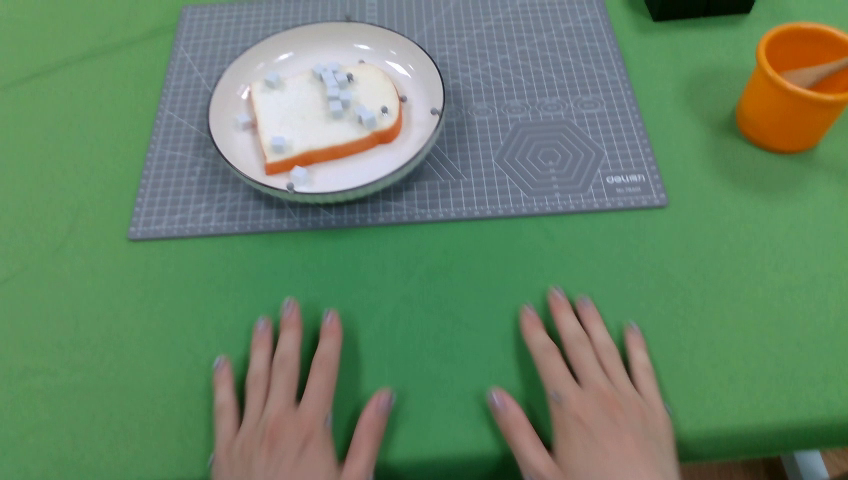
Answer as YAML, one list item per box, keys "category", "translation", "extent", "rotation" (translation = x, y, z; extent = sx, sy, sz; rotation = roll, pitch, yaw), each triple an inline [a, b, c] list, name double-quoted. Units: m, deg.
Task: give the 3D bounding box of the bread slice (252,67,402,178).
- category: "bread slice"
  translation: [-0.087, -0.114, 0.550]
  extent: [0.132, 0.019, 0.104]
  rotation: [-17, 59, -7]

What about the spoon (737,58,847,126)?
- category: "spoon"
  translation: [0.349, -0.148, 0.486]
  extent: [0.193, 0.022, 0.041]
  rotation: [-26, 47, 34]

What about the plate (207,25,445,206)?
- category: "plate"
  translation: [-0.085, -0.111, 0.544]
  extent: [0.209, 0.038, 0.207]
  rotation: [0, 58, 1]
